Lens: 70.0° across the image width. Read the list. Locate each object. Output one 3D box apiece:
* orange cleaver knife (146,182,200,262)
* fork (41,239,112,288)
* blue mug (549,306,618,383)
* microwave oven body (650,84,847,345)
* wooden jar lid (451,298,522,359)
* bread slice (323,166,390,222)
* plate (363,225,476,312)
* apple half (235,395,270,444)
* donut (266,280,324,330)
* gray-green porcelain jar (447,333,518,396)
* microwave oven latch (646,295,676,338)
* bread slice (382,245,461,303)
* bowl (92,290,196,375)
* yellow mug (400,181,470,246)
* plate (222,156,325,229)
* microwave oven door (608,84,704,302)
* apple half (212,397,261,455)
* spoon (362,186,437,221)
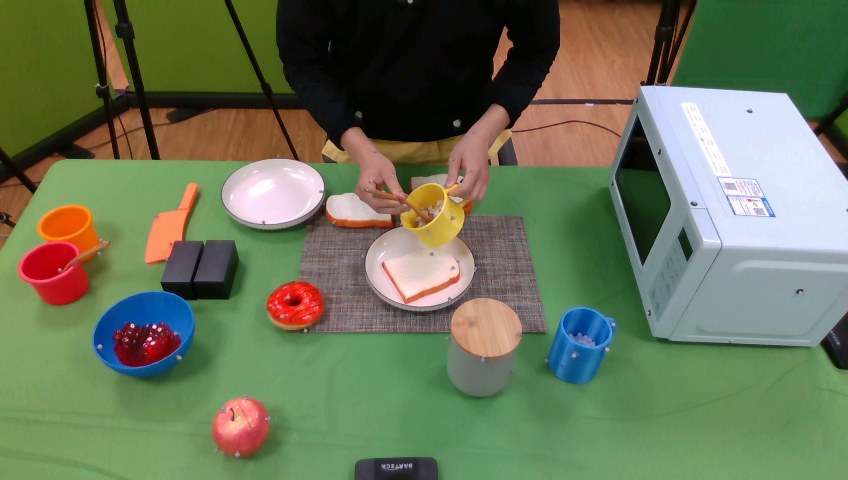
[{"bbox_3d":[-0.494,-0.039,1.198,0.077,0.012,0.210,-4,48,2],"label":"orange cleaver knife"},{"bbox_3d":[-0.591,0.040,1.028,0.207,0.019,0.028,-27,36,29],"label":"fork"},{"bbox_3d":[0.269,0.167,0.997,0.116,0.106,0.082,-19,51,-21],"label":"blue mug"},{"bbox_3d":[0.569,-0.054,1.116,0.326,0.261,0.439,2,46,-1],"label":"microwave oven body"},{"bbox_3d":[0.093,0.135,0.914,0.108,0.021,0.107,2,48,-3],"label":"wooden jar lid"},{"bbox_3d":[-0.140,-0.091,1.224,0.134,0.018,0.106,-19,51,6],"label":"bread slice"},{"bbox_3d":[-0.009,0.054,1.126,0.208,0.039,0.206,2,46,-2],"label":"plate"},{"bbox_3d":[-0.245,0.260,0.893,0.033,0.082,0.081,-29,55,-22],"label":"apple half"},{"bbox_3d":[-0.223,0.113,1.051,0.099,0.048,0.098,2,45,-2],"label":"donut"},{"bbox_3d":[0.091,0.178,0.960,0.106,0.127,0.105,2,46,-2],"label":"gray-green porcelain jar"},{"bbox_3d":[0.413,0.133,1.061,0.030,0.029,0.078,4,46,1],"label":"microwave oven latch"},{"bbox_3d":[0.000,0.055,1.129,0.131,0.019,0.104,-21,52,-20],"label":"bread slice"},{"bbox_3d":[-0.436,0.161,0.971,0.151,0.077,0.150,2,46,-2],"label":"bowl"},{"bbox_3d":[0.026,-0.057,1.092,0.131,0.064,0.099,-38,44,10],"label":"yellow mug"},{"bbox_3d":[-0.308,-0.094,1.251,0.209,0.038,0.208,2,46,-2],"label":"plate"},{"bbox_3d":[0.424,-0.096,1.138,0.039,0.245,0.353,2,47,-1],"label":"microwave oven door"},{"bbox_3d":[-0.276,0.277,0.877,0.053,0.075,0.080,-29,58,-21],"label":"apple half"},{"bbox_3d":[-0.031,-0.063,1.042,0.195,0.021,0.041,24,5,-43],"label":"spoon"}]
